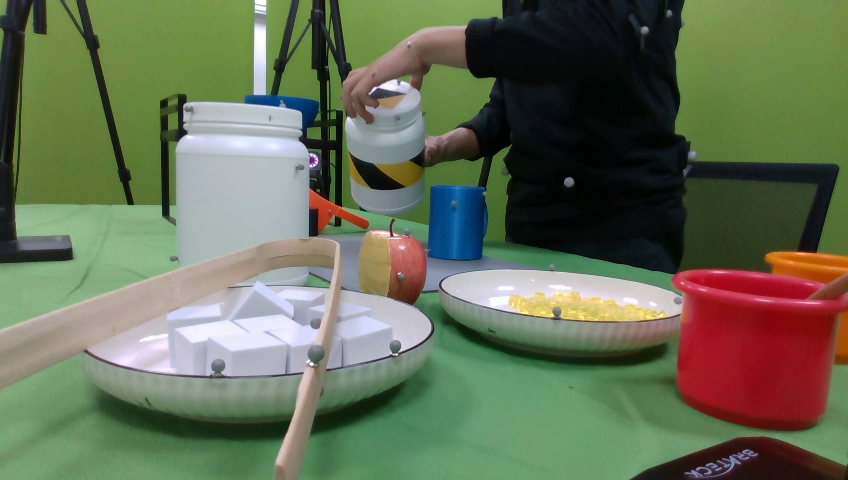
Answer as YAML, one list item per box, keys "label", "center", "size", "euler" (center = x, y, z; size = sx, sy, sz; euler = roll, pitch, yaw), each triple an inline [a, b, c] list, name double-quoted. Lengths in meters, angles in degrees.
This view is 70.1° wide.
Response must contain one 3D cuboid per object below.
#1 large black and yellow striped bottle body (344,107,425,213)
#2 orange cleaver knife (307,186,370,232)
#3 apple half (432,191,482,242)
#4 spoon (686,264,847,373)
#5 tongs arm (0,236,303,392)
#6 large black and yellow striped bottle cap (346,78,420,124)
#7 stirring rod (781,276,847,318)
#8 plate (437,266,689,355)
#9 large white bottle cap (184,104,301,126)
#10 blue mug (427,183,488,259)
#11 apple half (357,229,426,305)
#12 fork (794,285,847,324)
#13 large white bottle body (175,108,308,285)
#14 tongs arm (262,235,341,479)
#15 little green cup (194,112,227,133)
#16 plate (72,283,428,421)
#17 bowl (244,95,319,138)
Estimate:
- label: "large black and yellow striped bottle body"
  center: [-0.063, -0.152, 1.000]
  size: [0.131, 0.184, 0.130]
  euler: [0, 41, 0]
- label: "orange cleaver knife"
  center: [-0.196, -0.056, 1.140]
  size: [0.212, 0.077, 0.012]
  euler: [29, 0, -34]
- label: "apple half"
  center: [0.048, -0.036, 0.906]
  size: [0.081, 0.081, 0.033]
  euler: [2, 14, 1]
- label: "spoon"
  center: [0.214, 0.032, 0.328]
  size: [0.042, 0.021, 0.193]
  euler: [-2, -35, -25]
- label: "tongs arm"
  center: [-0.157, 0.037, 0.351]
  size: [0.028, 0.028, 0.388]
  euler: [-3, 8, 12]
- label: "large black and yellow striped bottle cap"
  center: [-0.064, -0.219, 0.944]
  size: [0.115, 0.019, 0.114]
  euler: [1, 43, 0]
- label: "stirring rod"
  center: [0.344, 0.019, 0.461]
  size: [0.014, 0.006, 0.176]
  euler: [-13, -27, -30]
- label: "plate"
  center: [0.114, 0.057, 0.517]
  size: [0.209, 0.038, 0.209]
  euler: [3, 7, 0]
- label: "large white bottle cap"
  center: [-0.184, -0.126, 0.618]
  size: [0.115, 0.018, 0.115]
  euler: [2, 8, 0]
- label: "blue mug"
  center: [0.059, -0.031, 0.907]
  size: [0.082, 0.106, 0.117]
  euler: [9, 9, 42]
- label: "apple half"
  center: [-0.026, 0.028, 0.570]
  size: [0.053, 0.074, 0.080]
  euler: [2, 2, -28]
- label: "fork"
  center: [0.332, 0.018, 0.443]
  size: [0.028, 0.018, 0.207]
  euler: [-1, -36, -15]
- label: "large white bottle body"
  center: [-0.188, -0.042, 0.630]
  size: [0.131, 0.184, 0.130]
  euler: [2, 8, 0]
- label: "tongs arm"
  center: [-0.074, 0.039, 0.349]
  size: [0.051, 0.026, 0.384]
  euler: [-1, 9, -3]
- label: "little green cup"
  center: [-0.412, -0.228, 1.171]
  size: [0.061, 0.038, 0.061]
  euler: [2, 8, 0]
- label: "plate"
  center: [-0.102, 0.066, 0.381]
  size: [0.208, 0.039, 0.207]
  euler: [2, 7, 0]
- label: "bowl"
  center: [-0.293, -0.251, 1.249]
  size: [0.151, 0.077, 0.151]
  euler: [2, 8, 0]
